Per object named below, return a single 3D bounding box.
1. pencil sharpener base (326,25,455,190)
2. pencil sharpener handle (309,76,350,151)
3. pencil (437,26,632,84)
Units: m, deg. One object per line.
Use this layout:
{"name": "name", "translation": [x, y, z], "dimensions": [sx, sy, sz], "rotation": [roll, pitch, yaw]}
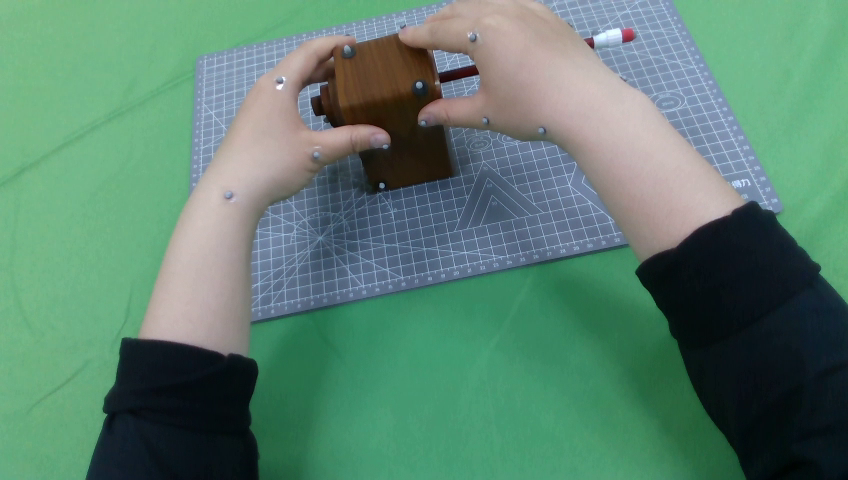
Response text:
{"name": "pencil sharpener base", "translation": [-0.023, -0.095, 0.459], "dimensions": [0.076, 0.108, 0.061], "rotation": [-14, 60, 3]}
{"name": "pencil sharpener handle", "translation": [-0.075, -0.090, 0.451], "dimensions": [0.030, 0.068, 0.035], "rotation": [-14, 63, 3]}
{"name": "pencil", "translation": [0.052, -0.125, 0.431], "dimensions": [0.194, 0.012, 0.012], "rotation": [-13, 60, 3]}
